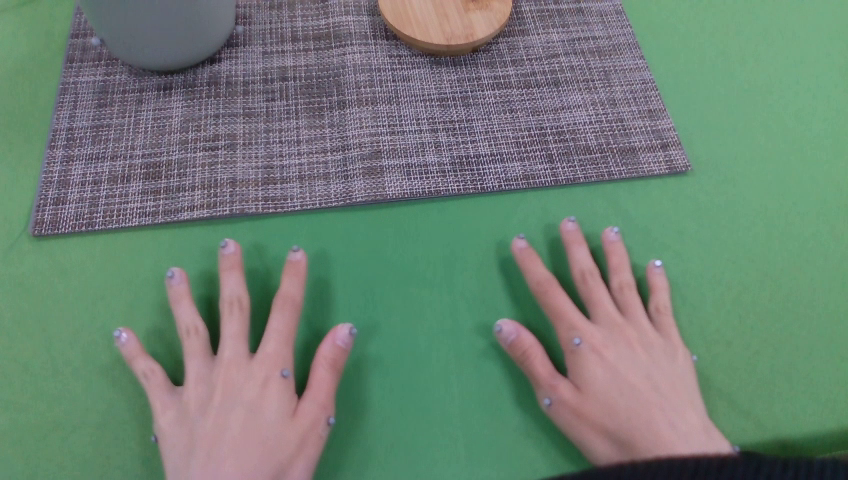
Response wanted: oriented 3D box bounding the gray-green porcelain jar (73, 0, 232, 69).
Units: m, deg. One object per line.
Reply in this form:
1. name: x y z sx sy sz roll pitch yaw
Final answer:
1. gray-green porcelain jar: -0.198 -0.194 0.423 0.106 0.127 0.105 1 61 -2

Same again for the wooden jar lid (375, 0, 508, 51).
1. wooden jar lid: 0.014 -0.193 0.494 0.108 0.021 0.107 1 60 -1
